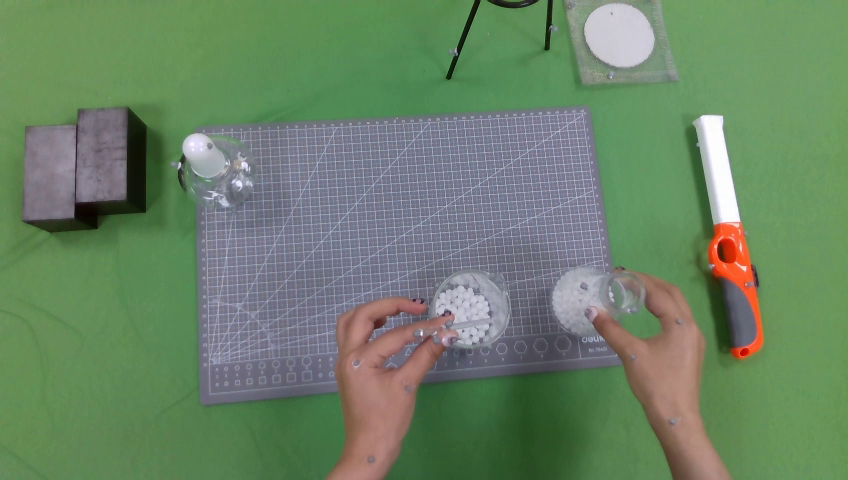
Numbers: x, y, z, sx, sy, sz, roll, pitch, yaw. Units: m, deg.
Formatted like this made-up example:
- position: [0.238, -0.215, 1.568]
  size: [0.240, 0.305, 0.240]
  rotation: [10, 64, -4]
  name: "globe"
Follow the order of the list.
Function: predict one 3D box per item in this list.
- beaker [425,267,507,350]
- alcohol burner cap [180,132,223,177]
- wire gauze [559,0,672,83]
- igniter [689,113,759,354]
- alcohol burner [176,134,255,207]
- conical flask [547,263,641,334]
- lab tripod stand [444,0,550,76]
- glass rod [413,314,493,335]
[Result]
- position: [0.040, 0.070, 0.608]
  size: [0.074, 0.100, 0.084]
  rotation: [42, 78, 5]
  name: "beaker"
- position: [-0.212, -0.084, 0.573]
  size: [0.034, 0.048, 0.033]
  rotation: [2, 72, -4]
  name: "alcohol burner cap"
- position: [0.232, -0.247, 0.731]
  size: [0.125, 0.011, 0.121]
  rotation: [-6, 80, -7]
  name: "wire gauze"
- position: [0.339, -0.011, 0.685]
  size: [0.057, 0.025, 0.275]
  rotation: [-2, 79, -16]
  name: "igniter"
- position: [-0.214, -0.075, 0.608]
  size: [0.078, 0.119, 0.077]
  rotation: [0, 80, -2]
  name: "alcohol burner"
- position: [0.169, 0.052, 0.588]
  size: [0.075, 0.122, 0.075]
  rotation: [1, 80, -3]
  name: "conical flask"
- position: [0.077, -0.256, 0.657]
  size: [0.148, 0.132, 0.148]
  rotation: [1, 81, -4]
  name: "lab tripod stand"
- position: [0.032, 0.074, 0.535]
  size: [0.008, 0.201, 0.008]
  rotation: [-1, 86, 22]
  name: "glass rod"
